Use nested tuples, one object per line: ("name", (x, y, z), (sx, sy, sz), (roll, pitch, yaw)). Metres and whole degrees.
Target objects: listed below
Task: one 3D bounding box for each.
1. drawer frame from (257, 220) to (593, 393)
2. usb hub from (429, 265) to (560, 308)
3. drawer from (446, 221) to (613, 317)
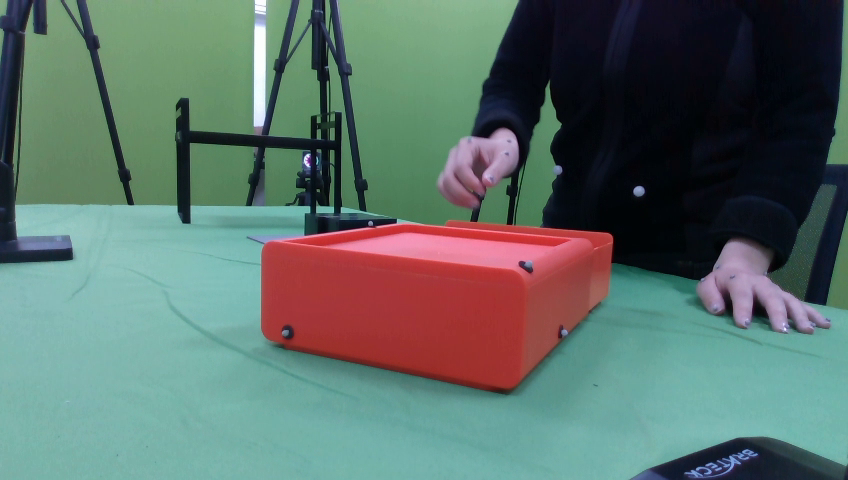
("drawer frame", (0.014, 0.037, 0.491), (0.201, 0.082, 0.214), (6, 9, 24))
("usb hub", (0.071, 0.045, 0.614), (0.124, 0.025, 0.050), (5, 8, 28))
("drawer", (0.062, 0.029, 0.583), (0.194, 0.073, 0.212), (6, 9, 27))
